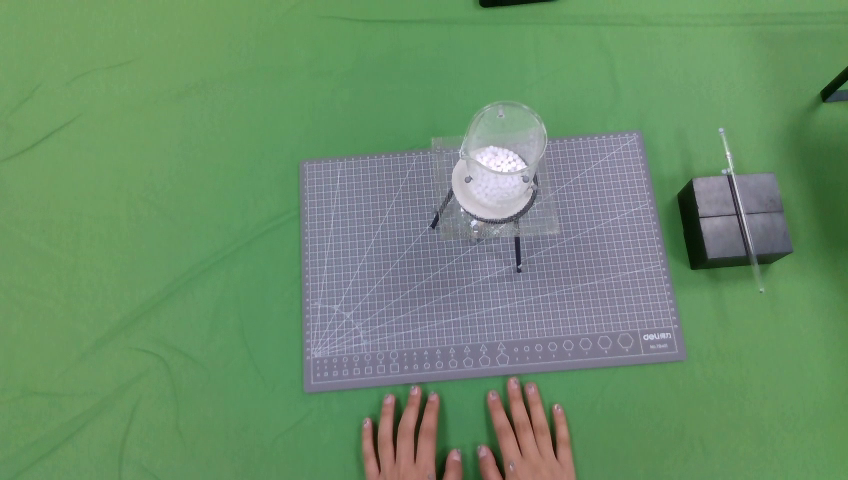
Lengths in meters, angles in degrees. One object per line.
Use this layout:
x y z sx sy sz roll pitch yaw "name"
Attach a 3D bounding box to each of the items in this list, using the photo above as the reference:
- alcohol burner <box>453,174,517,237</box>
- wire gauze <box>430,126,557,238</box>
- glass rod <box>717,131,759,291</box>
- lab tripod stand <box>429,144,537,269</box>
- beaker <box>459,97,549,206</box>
0.073 -0.046 0.711 0.078 0.119 0.077 0 75 1 "alcohol burner"
0.072 -0.061 0.637 0.125 0.011 0.120 -3 74 -2 "wire gauze"
0.367 -0.037 0.710 0.008 0.008 0.198 -5 74 0 "glass rod"
0.077 -0.046 0.701 0.148 0.132 0.147 -1 71 2 "lab tripod stand"
0.072 -0.080 0.592 0.084 0.101 0.073 -21 73 -5 "beaker"
